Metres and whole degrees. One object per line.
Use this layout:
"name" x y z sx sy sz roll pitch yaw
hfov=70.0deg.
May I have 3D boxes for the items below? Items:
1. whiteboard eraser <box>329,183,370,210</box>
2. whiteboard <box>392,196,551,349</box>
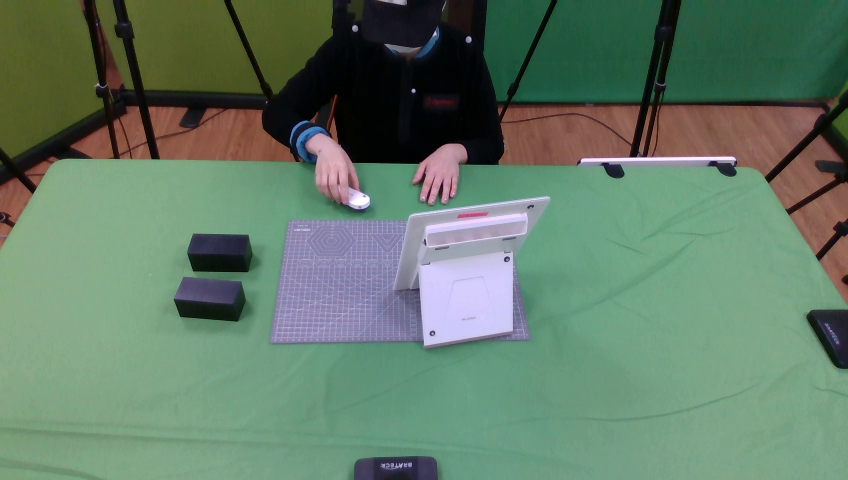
"whiteboard eraser" -0.157 -0.092 1.267 0.101 0.019 0.041 26 45 28
"whiteboard" 0.077 0.071 0.977 0.217 0.306 0.143 -7 67 -11
